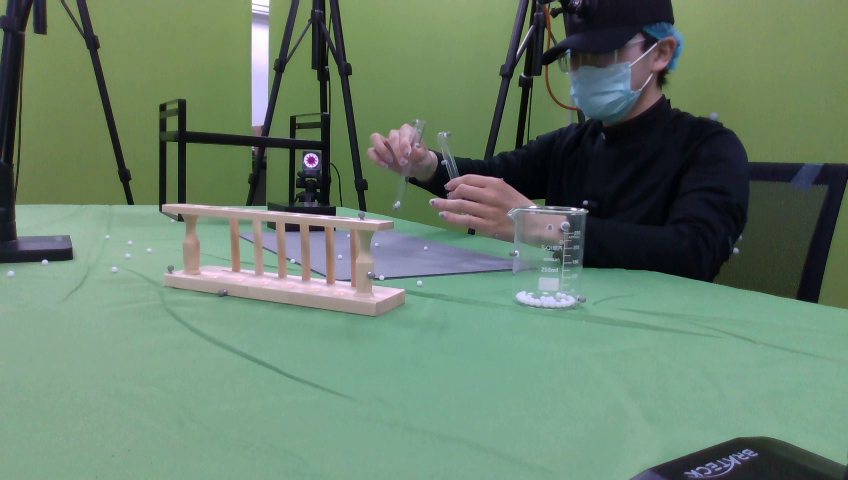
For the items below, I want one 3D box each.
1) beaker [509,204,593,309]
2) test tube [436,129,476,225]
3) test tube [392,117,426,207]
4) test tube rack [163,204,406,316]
[{"bbox_3d":[0.126,0.015,0.613,0.084,0.100,0.074,1,7,-5],"label":"beaker"},{"bbox_3d":[0.049,-0.094,0.902,0.017,0.150,0.017,-19,1,0],"label":"test tube"},{"bbox_3d":[-0.025,-0.122,0.956,0.017,0.150,0.017,15,22,-6],"label":"test tube"},{"bbox_3d":[-0.141,0.013,0.601,0.241,0.085,0.067,5,8,21],"label":"test tube rack"}]
